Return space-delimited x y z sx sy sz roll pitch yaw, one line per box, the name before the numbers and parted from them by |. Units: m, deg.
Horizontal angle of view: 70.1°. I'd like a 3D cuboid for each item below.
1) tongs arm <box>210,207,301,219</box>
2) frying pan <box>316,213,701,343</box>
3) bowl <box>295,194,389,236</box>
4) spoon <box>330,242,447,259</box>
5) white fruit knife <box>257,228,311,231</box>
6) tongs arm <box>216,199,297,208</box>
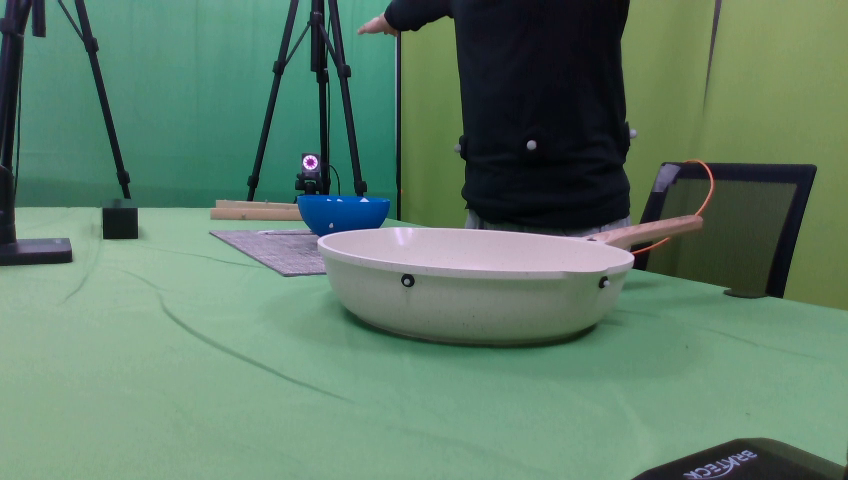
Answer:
tongs arm | -0.287 -0.061 1.392 0.389 0.028 0.028 0 5 -23
frying pan | 0.133 0.013 0.629 0.490 0.102 0.305 -11 14 -30
bowl | -0.132 -0.032 0.980 0.151 0.077 0.151 2 7 0
spoon | -0.046 0.011 0.883 0.195 0.021 0.041 -4 24 -30
white fruit knife | -0.202 -0.021 1.116 0.208 0.016 0.027 -2 -1 -24
tongs arm | -0.307 -0.076 1.469 0.386 0.026 0.050 2 8 -10
